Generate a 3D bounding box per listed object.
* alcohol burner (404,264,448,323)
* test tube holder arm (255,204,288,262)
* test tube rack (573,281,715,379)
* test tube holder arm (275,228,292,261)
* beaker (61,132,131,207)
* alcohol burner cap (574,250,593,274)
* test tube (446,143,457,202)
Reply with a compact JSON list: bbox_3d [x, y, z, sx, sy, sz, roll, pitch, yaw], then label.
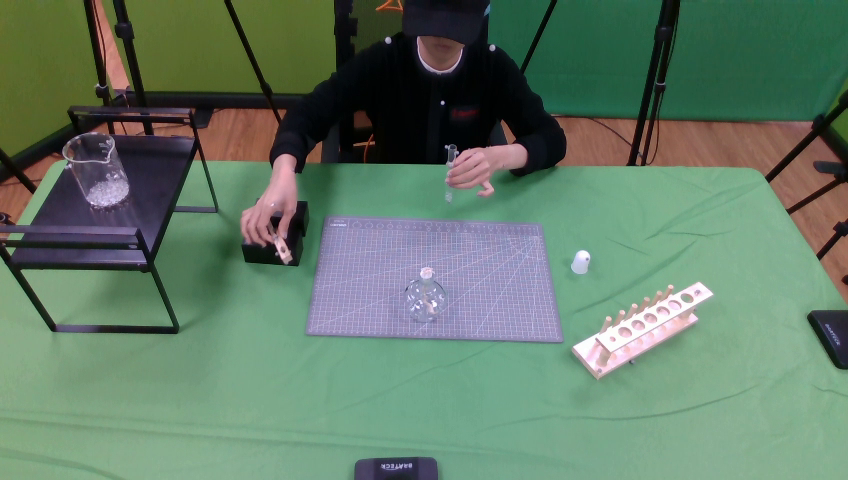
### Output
[{"bbox_3d":[0.003,0.087,1.042,0.078,0.120,0.077,1,45,0],"label":"alcohol burner"},{"bbox_3d":[-0.281,-0.016,1.114,0.013,0.015,0.177,-21,44,-21],"label":"test tube holder arm"},{"bbox_3d":[0.378,0.140,1.038,0.242,0.085,0.066,-22,51,-23],"label":"test tube rack"},{"bbox_3d":[-0.255,0.007,1.086,0.010,0.015,0.087,-20,43,-20],"label":"test tube holder arm"},{"bbox_3d":[-0.512,-0.107,0.959,0.083,0.101,0.074,29,51,22],"label":"beaker"},{"bbox_3d":[0.308,0.039,1.163,0.034,0.048,0.033,1,46,-1],"label":"alcohol burner cap"},{"bbox_3d":[0.052,-0.126,1.165,0.017,0.151,0.017,1,52,0],"label":"test tube"}]
